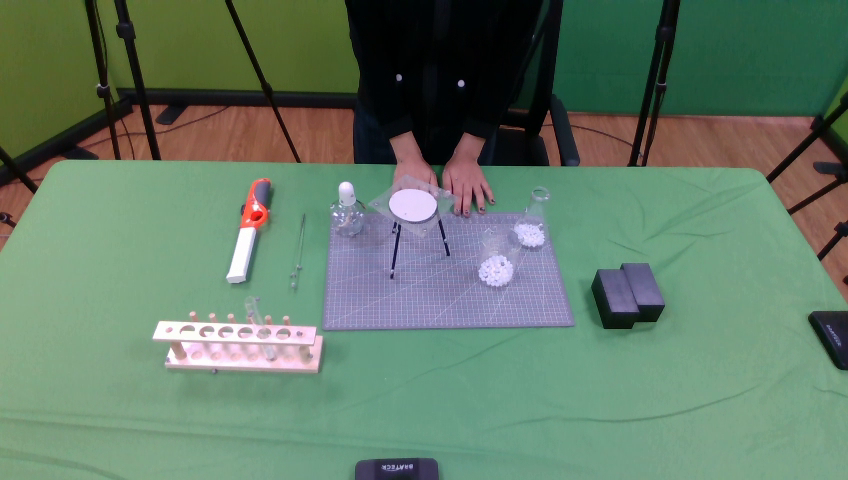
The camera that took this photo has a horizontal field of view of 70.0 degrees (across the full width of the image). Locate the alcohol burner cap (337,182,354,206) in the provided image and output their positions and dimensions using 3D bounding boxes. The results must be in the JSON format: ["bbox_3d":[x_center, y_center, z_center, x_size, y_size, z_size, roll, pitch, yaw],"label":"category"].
[{"bbox_3d":[-0.151,-0.090,1.158,0.034,0.048,0.033,0,52,0],"label":"alcohol burner cap"}]

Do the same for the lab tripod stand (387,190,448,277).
[{"bbox_3d":[-0.021,-0.018,1.135,0.148,0.132,0.147,3,44,-3],"label":"lab tripod stand"}]

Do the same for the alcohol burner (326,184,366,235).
[{"bbox_3d":[-0.152,-0.066,1.185,0.078,0.119,0.077,4,46,-4],"label":"alcohol burner"}]

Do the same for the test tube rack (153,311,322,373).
[{"bbox_3d":[-0.293,0.160,0.978,0.242,0.085,0.066,3,46,-2],"label":"test tube rack"}]

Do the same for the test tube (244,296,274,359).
[{"bbox_3d":[-0.253,0.138,0.934,0.017,0.151,0.017,-1,46,1],"label":"test tube"}]

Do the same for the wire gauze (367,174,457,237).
[{"bbox_3d":[-0.021,-0.067,1.089,0.124,0.011,0.121,28,49,21],"label":"wire gauze"}]

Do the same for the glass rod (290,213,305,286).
[{"bbox_3d":[-0.245,0.015,1.176,0.008,0.008,0.198,1,43,-3],"label":"glass rod"}]

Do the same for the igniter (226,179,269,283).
[{"bbox_3d":[-0.345,-0.027,1.195,0.057,0.025,0.274,-6,46,5],"label":"igniter"}]

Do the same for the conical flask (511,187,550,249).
[{"bbox_3d":[0.217,-0.047,1.190,0.075,0.122,0.075,2,46,-2],"label":"conical flask"}]

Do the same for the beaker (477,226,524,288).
[{"bbox_3d":[0.139,0.033,1.122,0.084,0.101,0.073,-12,48,-16],"label":"beaker"}]
